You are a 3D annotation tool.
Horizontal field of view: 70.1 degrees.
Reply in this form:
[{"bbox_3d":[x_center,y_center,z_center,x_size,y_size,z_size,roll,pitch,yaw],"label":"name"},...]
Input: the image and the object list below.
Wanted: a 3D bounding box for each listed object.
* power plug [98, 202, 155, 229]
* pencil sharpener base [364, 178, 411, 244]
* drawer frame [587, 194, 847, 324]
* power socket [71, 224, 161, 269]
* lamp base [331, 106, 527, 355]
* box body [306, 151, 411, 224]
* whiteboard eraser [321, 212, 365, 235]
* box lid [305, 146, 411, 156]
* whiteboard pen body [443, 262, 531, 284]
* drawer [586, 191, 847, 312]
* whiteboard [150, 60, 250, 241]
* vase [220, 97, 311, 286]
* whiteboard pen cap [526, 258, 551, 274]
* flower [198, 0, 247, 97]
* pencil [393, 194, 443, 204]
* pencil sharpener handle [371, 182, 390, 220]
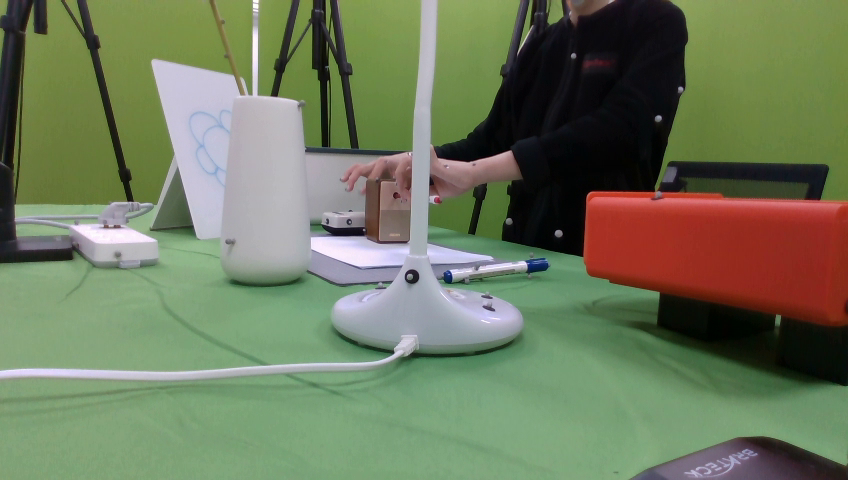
[{"bbox_3d":[-0.416,-0.027,0.848,0.073,0.052,0.035,0,8,-28],"label":"power plug"},{"bbox_3d":[-0.062,-0.051,1.031,0.061,0.107,0.076,-1,8,-25],"label":"pencil sharpener base"},{"bbox_3d":[0.285,0.004,0.508,0.203,0.082,0.212,-1,6,-29],"label":"drawer frame"},{"bbox_3d":[-0.408,0.004,0.793,0.072,0.032,0.225,-2,8,-38],"label":"power socket"},{"bbox_3d":[0.006,-0.012,0.478,0.161,0.180,0.179,2,10,2],"label":"lamp base"},{"bbox_3d":[-0.230,-0.126,1.371,0.366,0.160,0.253,-2,8,-33],"label":"box body"},{"bbox_3d":[-0.128,-0.031,1.108,0.113,0.042,0.055,-3,7,-38],"label":"whiteboard eraser"},{"bbox_3d":[-0.229,-0.200,1.361,0.373,0.015,0.262,-3,9,-33],"label":"box lid"},{"bbox_3d":[0.087,0.038,0.733,0.141,0.017,0.017,-5,10,-27],"label":"whiteboard pen body"},{"bbox_3d":[0.281,0.001,0.512,0.195,0.073,0.210,-1,8,-29],"label":"drawer"},{"bbox_3d":[-0.408,-0.139,1.093,0.143,0.305,0.218,-15,-1,26],"label":"whiteboard"},{"bbox_3d":[-0.172,-0.052,0.662,0.098,0.200,0.098,3,8,0],"label":"vase"},{"bbox_3d":[0.141,0.033,0.759,0.033,0.018,0.018,-8,11,-26],"label":"whiteboard pen cap"},{"bbox_3d":[-0.187,-0.133,0.648,0.038,0.362,0.044,-1,22,43],"label":"flower"},{"bbox_3d":[-0.017,-0.065,0.932,0.012,0.012,0.193,-1,6,-25],"label":"pencil"},{"bbox_3d":[-0.082,-0.070,1.075,0.036,0.067,0.030,-5,9,-24],"label":"pencil sharpener handle"}]
